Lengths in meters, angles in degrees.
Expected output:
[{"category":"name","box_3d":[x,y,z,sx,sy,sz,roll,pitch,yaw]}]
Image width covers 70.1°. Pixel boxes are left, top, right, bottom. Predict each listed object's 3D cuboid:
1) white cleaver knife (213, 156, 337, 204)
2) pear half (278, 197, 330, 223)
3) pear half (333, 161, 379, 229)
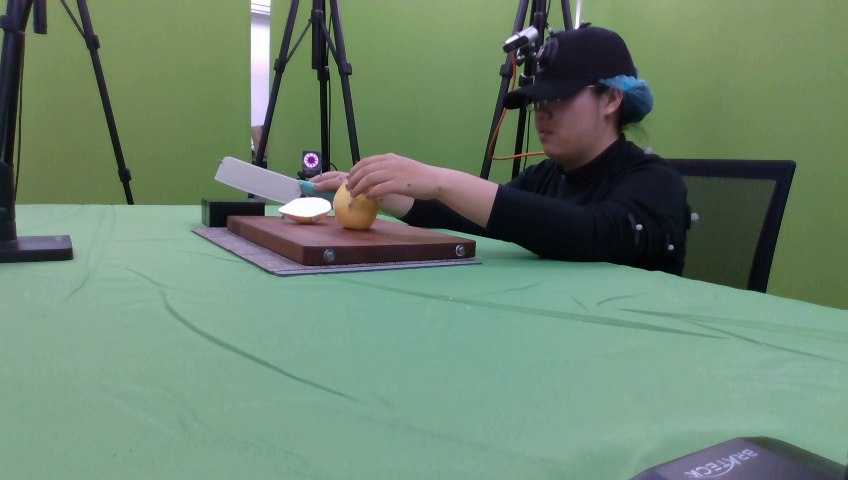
[{"category":"white cleaver knife","box_3d":[-0.271,-0.102,1.211,0.288,0.066,0.021,17,29,-22]},{"category":"pear half","box_3d":[-0.204,-0.046,1.033,0.088,0.031,0.070,-13,27,-17]},{"category":"pear half","box_3d":[-0.103,-0.072,0.970,0.077,0.110,0.055,-10,15,-44]}]
